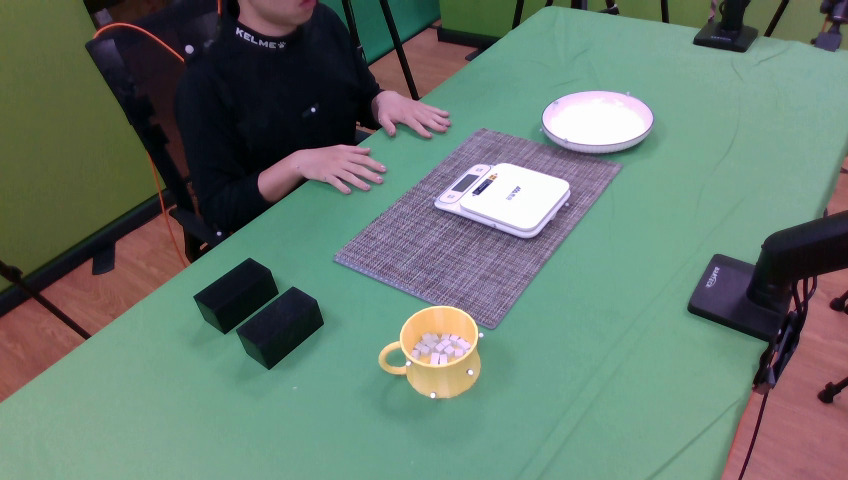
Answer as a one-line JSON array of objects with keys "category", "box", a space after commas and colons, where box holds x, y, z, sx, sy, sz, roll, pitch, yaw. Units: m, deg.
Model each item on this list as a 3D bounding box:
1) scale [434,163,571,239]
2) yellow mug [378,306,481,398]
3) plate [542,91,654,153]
[{"category": "scale", "box": [0.132, -0.075, 1.025, 0.199, 0.032, 0.149, 22, 48, 30]}, {"category": "yellow mug", "box": [0.006, 0.144, 0.766, 0.131, 0.064, 0.099, -10, 40, -3]}, {"category": "plate", "box": [0.334, -0.224, 1.171, 0.209, 0.038, 0.208, -4, 40, 4]}]
